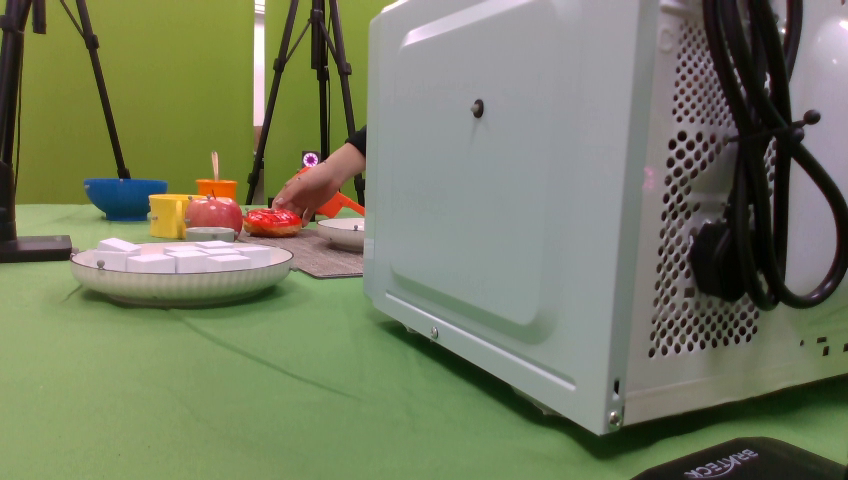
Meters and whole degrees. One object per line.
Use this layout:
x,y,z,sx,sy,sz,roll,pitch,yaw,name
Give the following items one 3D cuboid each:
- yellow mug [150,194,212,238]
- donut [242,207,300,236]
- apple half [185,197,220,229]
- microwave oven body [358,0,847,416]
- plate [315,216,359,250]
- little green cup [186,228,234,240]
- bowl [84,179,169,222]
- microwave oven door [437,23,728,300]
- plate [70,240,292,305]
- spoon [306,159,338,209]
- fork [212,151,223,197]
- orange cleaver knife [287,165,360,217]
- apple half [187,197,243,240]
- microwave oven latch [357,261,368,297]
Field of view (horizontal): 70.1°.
-0.401,-0.039,1.003,0.100,0.064,0.130,0,9,-20,yellow mug
-0.263,-0.031,1.039,0.099,0.048,0.099,5,8,0,donut
-0.338,-0.031,0.927,0.032,0.081,0.081,12,12,31,apple half
0.211,-0.047,0.474,0.444,0.260,0.324,-1,7,-28,microwave oven body
-0.068,-0.010,0.963,0.209,0.038,0.209,3,8,0,plate
-0.284,0.005,0.805,0.061,0.038,0.061,2,8,0,little green cup
-0.584,-0.078,1.194,0.151,0.077,0.151,3,8,0,bowl
0.181,-0.072,0.621,0.358,0.243,0.039,-2,8,-29,microwave oven door
-0.242,0.031,0.618,0.208,0.039,0.207,2,8,0,plate
-0.257,-0.147,1.567,0.041,0.022,0.193,2,51,20,spoon
-0.494,-0.143,1.442,0.028,0.018,0.206,-2,52,-20,fork
-0.211,-0.093,1.382,0.212,0.077,0.012,33,1,-15,orange cleaver knife
-0.305,-0.026,0.907,0.053,0.074,0.081,12,8,31,apple half
-0.019,0.033,0.531,0.079,0.029,0.030,-1,7,-27,microwave oven latch
